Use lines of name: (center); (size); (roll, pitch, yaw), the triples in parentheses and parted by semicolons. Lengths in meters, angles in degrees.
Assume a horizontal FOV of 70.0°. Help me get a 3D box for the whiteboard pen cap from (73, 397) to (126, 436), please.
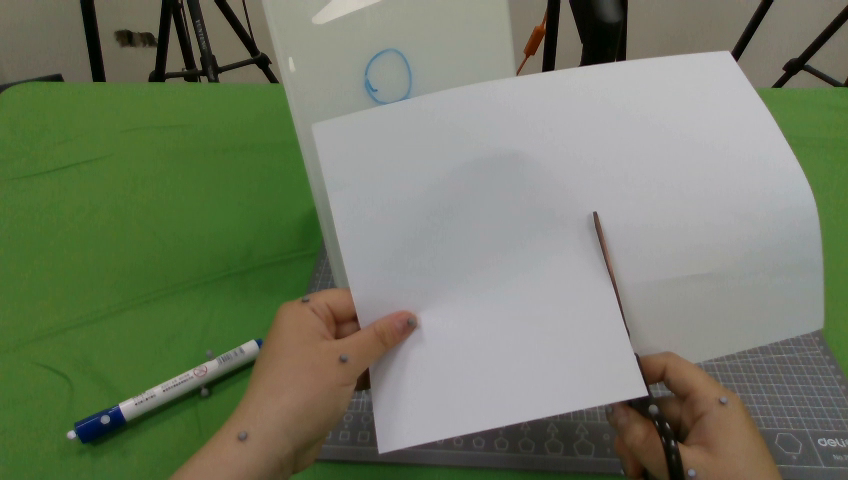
whiteboard pen cap: (-0.238, 0.128, 0.447); (0.033, 0.018, 0.018); (-26, 46, -27)

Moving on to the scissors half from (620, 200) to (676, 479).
scissors half: (0.125, 0.060, 0.352); (0.013, 0.040, 0.174); (1, 75, -10)

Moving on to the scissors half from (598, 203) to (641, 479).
scissors half: (0.121, 0.064, 0.371); (0.013, 0.175, 0.040); (2, 0, -16)

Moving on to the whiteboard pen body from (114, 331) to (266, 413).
whiteboard pen body: (-0.191, 0.107, 0.473); (0.141, 0.017, 0.017); (-24, 45, -28)

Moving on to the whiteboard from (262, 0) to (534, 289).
whiteboard: (-0.035, -0.144, 0.597); (0.218, 0.307, 0.142); (-18, 23, -17)

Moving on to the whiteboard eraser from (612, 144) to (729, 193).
whiteboard eraser: (0.270, -0.079, 0.668); (0.113, 0.042, 0.055); (0, 42, 0)
